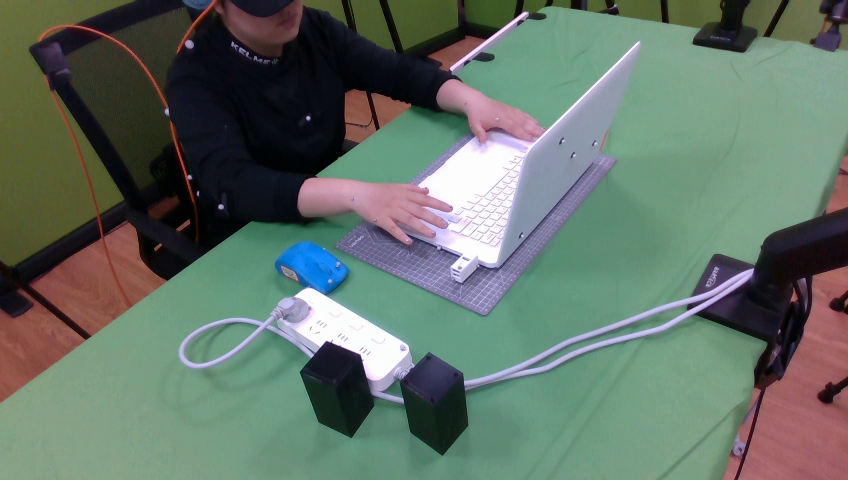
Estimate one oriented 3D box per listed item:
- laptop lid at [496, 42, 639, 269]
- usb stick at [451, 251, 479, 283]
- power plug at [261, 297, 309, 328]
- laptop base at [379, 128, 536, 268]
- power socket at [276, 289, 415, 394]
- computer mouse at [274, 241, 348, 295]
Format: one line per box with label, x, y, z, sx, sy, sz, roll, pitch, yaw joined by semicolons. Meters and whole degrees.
laptop lid;0.221;-0.130;0.912;0.013;0.242;0.357;31;51;21
usb stick;0.065;0.036;0.899;0.021;0.027;0.059;23;46;32
power plug;-0.192;0.107;0.831;0.073;0.053;0.035;-32;43;-25
laptop base;0.118;-0.088;1.058;0.233;0.023;0.355;19;47;33
power socket;-0.114;0.133;0.821;0.225;0.033;0.072;25;49;33
computer mouse;-0.175;0.040;0.936;0.116;0.041;0.063;26;48;27
